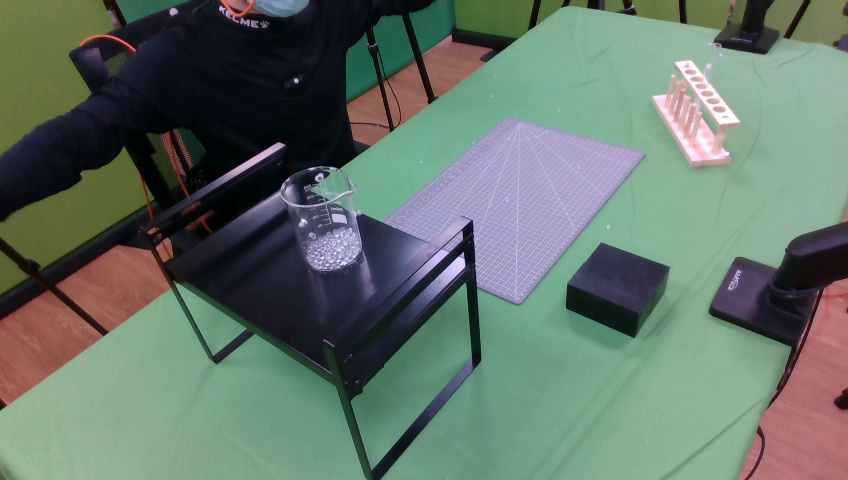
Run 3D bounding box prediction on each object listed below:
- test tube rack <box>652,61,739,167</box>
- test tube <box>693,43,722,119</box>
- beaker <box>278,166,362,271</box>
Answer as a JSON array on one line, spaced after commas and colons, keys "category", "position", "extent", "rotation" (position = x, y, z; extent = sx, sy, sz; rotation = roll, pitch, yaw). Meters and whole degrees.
[{"category": "test tube rack", "position": [0.499, -0.242, 1.130], "extent": [0.067, 0.085, 0.241], "rotation": [-5, 41, 4]}, {"category": "test tube", "position": [0.513, -0.287, 1.104], "extent": [0.017, 0.151, 0.017], "rotation": [-1, 45, 2]}, {"category": "beaker", "position": [-0.109, -0.022, 0.675], "extent": [0.084, 0.101, 0.073], "rotation": [-2, 41, 5]}]
